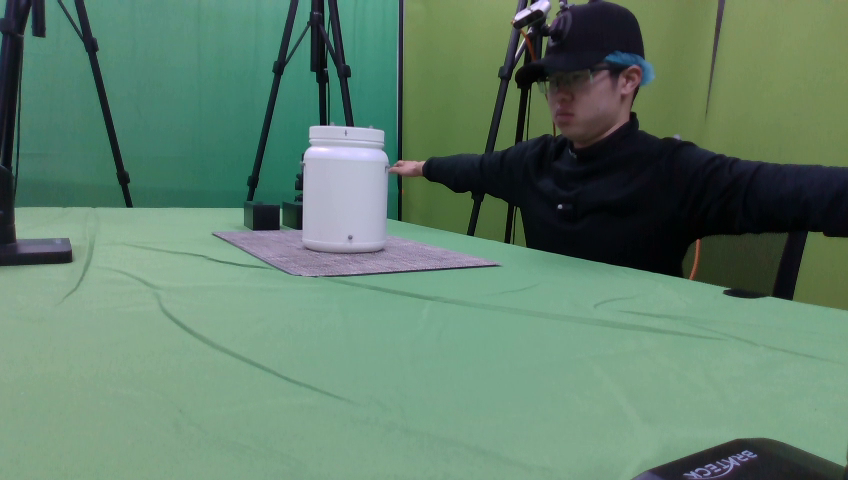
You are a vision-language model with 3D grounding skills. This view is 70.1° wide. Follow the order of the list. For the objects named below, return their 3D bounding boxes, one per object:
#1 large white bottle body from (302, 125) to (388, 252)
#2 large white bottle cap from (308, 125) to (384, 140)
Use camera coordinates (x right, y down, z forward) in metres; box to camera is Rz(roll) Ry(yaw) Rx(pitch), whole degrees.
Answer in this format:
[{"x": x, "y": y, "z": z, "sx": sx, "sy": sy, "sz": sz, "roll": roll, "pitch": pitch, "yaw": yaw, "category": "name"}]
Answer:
[{"x": -0.122, "y": -0.080, "z": 0.937, "sx": 0.131, "sy": 0.184, "sz": 0.130, "roll": 2, "pitch": 7, "yaw": 0, "category": "large white bottle body"}, {"x": -0.119, "y": -0.163, "z": 0.927, "sx": 0.115, "sy": 0.018, "sz": 0.115, "roll": 2, "pitch": 6, "yaw": 0, "category": "large white bottle cap"}]
